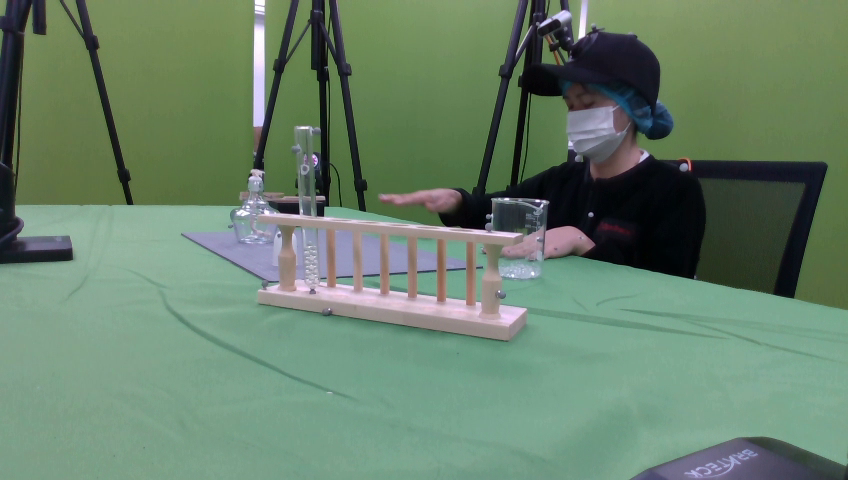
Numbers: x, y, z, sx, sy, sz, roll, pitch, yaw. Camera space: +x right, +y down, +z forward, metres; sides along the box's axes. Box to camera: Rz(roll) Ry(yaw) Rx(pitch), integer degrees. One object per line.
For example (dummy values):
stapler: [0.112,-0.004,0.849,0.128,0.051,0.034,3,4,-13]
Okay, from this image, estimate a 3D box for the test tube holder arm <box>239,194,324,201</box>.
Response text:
test tube holder arm: [-0.289,-0.088,1.240,0.179,0.013,0.015,-4,8,-36]

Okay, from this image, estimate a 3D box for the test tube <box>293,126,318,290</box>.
test tube: [-0.107,-0.027,0.550,0.017,0.150,0.017,-1,11,0]

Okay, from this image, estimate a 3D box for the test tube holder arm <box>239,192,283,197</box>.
test tube holder arm: [-0.326,-0.092,1.213,0.088,0.010,0.015,-3,8,-36]

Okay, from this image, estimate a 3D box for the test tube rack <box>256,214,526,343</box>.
test tube rack: [-0.032,0.027,0.547,0.241,0.085,0.067,6,8,22]

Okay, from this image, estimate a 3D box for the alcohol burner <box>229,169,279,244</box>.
alcohol burner: [-0.268,-0.053,0.958,0.078,0.119,0.078,2,5,0]

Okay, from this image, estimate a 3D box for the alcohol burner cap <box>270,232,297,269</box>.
alcohol burner cap: [-0.175,0.012,0.760,0.034,0.048,0.034,2,8,0]

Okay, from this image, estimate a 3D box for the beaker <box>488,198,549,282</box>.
beaker: [0.120,-0.001,0.768,0.074,0.100,0.083,-1,9,-25]
